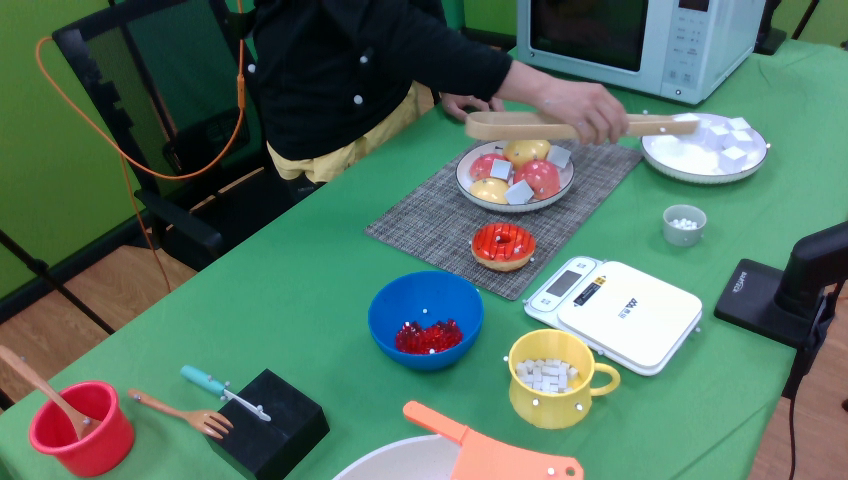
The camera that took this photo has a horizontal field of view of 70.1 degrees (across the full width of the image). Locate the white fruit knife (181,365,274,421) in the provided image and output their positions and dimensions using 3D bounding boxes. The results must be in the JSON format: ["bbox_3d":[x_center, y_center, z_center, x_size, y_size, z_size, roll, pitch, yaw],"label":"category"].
[{"bbox_3d":[-0.245,0.188,0.747,0.205,0.027,0.016,9,41,41],"label":"white fruit knife"}]

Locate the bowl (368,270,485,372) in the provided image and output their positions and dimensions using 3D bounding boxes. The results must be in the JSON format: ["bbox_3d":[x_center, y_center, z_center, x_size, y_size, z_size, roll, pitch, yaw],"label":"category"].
[{"bbox_3d":[0.007,0.119,0.791,0.151,0.077,0.150,-5,39,4],"label":"bowl"}]

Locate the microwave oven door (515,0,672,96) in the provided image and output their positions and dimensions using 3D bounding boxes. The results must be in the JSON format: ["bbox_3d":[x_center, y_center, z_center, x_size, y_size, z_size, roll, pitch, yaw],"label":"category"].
[{"bbox_3d":[0.343,-0.455,1.259,0.353,0.245,0.039,26,51,33],"label":"microwave oven door"}]

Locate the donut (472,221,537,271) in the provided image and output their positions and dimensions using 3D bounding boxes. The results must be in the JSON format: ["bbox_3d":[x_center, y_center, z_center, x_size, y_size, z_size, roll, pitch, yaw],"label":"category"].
[{"bbox_3d":[0.123,0.008,0.923,0.099,0.048,0.098,-3,38,3],"label":"donut"}]

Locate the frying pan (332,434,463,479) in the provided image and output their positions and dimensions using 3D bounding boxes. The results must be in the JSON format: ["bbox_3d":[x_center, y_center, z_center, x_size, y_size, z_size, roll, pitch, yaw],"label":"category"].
[{"bbox_3d":[-0.089,0.306,0.564,0.487,0.103,0.306,10,41,7],"label":"frying pan"}]

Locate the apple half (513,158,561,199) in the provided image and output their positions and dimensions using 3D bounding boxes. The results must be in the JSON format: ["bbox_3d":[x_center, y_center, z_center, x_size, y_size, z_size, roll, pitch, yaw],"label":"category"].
[{"bbox_3d":[0.193,-0.111,1.031,0.080,0.053,0.075,11,41,26],"label":"apple half"}]

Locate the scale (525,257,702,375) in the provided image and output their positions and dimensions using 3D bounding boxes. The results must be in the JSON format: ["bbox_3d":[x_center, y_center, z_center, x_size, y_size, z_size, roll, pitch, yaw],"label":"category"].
[{"bbox_3d":[0.254,0.091,0.821,0.199,0.032,0.149,27,51,35],"label":"scale"}]

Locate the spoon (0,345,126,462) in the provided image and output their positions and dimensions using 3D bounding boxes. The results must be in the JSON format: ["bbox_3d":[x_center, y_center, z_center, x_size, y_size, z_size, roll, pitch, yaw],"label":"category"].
[{"bbox_3d":[-0.434,0.192,0.720,0.194,0.021,0.042,47,53,-6],"label":"spoon"}]

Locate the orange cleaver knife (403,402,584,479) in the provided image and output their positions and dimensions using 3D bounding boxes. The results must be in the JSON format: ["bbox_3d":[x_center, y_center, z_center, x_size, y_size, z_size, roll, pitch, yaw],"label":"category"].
[{"bbox_3d":[0.062,0.222,0.609,0.210,0.012,0.077,15,48,25],"label":"orange cleaver knife"}]

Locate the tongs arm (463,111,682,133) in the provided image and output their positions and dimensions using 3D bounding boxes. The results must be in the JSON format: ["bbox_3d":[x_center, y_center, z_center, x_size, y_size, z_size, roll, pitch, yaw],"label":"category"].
[{"bbox_3d":[0.248,-0.186,0.974,0.386,0.026,0.050,1,36,-10],"label":"tongs arm"}]

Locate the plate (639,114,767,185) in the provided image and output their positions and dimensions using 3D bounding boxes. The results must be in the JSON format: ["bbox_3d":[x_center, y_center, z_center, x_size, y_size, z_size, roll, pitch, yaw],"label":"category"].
[{"bbox_3d":[0.489,-0.157,1.074,0.207,0.039,0.206,-4,40,4],"label":"plate"}]

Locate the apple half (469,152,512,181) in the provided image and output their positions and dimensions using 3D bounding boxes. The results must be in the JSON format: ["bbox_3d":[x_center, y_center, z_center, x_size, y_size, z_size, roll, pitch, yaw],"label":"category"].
[{"bbox_3d":[0.120,-0.139,1.088,0.081,0.033,0.081,0,44,0],"label":"apple half"}]

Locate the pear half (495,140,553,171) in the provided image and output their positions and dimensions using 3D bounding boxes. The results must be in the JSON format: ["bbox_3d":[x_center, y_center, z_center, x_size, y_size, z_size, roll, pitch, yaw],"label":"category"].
[{"bbox_3d":[0.174,-0.168,1.094,0.109,0.056,0.076,16,53,30],"label":"pear half"}]

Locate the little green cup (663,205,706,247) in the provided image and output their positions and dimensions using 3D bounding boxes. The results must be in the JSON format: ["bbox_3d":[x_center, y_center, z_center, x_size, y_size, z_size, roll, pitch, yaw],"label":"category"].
[{"bbox_3d":[0.396,-0.020,0.926,0.061,0.039,0.061,-4,40,4],"label":"little green cup"}]

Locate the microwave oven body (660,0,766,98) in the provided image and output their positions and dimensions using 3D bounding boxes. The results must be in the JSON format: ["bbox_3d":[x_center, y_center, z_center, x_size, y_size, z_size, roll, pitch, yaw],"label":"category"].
[{"bbox_3d":[0.472,-0.513,1.317,0.438,0.261,0.327,26,51,34],"label":"microwave oven body"}]

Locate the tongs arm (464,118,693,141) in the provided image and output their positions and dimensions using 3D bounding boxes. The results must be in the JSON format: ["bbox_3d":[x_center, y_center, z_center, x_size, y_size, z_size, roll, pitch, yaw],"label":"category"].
[{"bbox_3d":[0.253,-0.172,0.956,0.389,0.028,0.028,-2,40,-13],"label":"tongs arm"}]

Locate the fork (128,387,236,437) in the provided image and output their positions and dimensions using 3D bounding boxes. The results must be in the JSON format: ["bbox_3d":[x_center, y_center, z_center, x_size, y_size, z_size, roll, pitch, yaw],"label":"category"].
[{"bbox_3d":[-0.305,0.207,0.744,0.206,0.019,0.028,3,41,36],"label":"fork"}]

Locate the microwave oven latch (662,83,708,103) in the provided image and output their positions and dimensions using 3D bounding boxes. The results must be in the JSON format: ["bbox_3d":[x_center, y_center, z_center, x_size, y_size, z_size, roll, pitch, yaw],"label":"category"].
[{"bbox_3d":[0.518,-0.296,1.204,0.078,0.029,0.030,28,52,35],"label":"microwave oven latch"}]

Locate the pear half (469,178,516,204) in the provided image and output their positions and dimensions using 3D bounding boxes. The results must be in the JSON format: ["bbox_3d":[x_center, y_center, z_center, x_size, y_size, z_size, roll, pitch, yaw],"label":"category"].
[{"bbox_3d":[0.115,-0.090,1.036,0.087,0.031,0.071,29,39,33],"label":"pear half"}]

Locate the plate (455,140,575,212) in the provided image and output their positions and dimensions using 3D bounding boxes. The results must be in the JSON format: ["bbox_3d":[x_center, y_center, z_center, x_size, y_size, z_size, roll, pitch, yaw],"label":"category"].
[{"bbox_3d":[0.159,-0.111,1.063,0.209,0.038,0.208,-4,40,4],"label":"plate"}]

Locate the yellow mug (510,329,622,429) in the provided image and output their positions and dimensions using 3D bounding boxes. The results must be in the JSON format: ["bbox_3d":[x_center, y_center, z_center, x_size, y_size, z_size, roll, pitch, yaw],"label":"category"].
[{"bbox_3d":[0.168,0.164,0.721,0.130,0.064,0.099,0,40,8],"label":"yellow mug"}]
